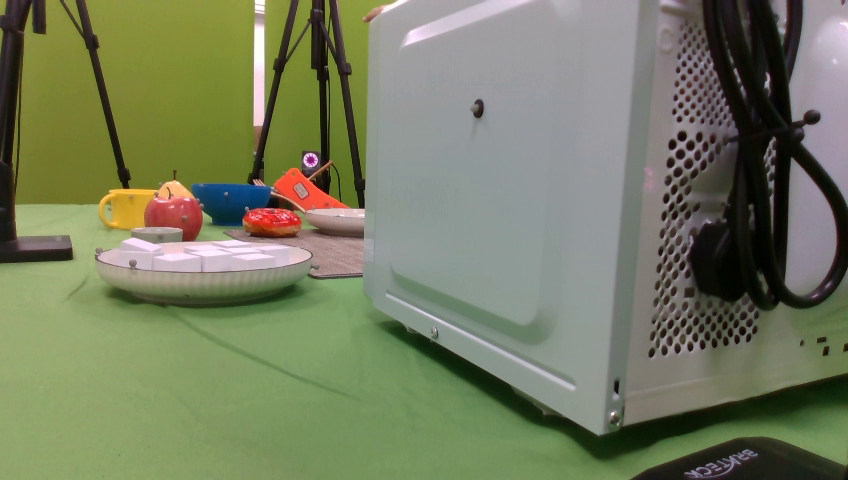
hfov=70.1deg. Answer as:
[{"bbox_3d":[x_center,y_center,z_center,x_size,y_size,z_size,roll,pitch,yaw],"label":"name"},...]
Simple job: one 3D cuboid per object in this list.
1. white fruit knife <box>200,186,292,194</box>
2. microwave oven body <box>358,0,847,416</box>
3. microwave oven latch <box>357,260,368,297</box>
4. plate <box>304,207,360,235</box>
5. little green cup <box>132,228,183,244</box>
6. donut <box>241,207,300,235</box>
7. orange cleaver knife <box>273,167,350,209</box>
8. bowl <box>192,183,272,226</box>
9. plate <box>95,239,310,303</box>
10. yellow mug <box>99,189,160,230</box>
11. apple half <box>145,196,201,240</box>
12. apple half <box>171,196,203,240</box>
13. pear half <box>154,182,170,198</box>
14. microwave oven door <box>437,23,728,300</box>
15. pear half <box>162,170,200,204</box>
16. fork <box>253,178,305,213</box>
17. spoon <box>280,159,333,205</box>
[{"bbox_3d":[-0.399,-0.111,1.368,0.208,0.016,0.027,-4,-19,-29],"label":"white fruit knife"},{"bbox_3d":[0.211,-0.047,0.475,0.444,0.260,0.324,-1,8,-28],"label":"microwave oven body"},{"bbox_3d":[-0.019,0.033,0.531,0.079,0.029,0.030,-1,7,-27],"label":"microwave oven latch"},{"bbox_3d":[-0.123,-0.037,1.149,0.209,0.038,0.209,2,7,0],"label":"plate"},{"bbox_3d":[-0.342,0.006,0.779,0.061,0.038,0.061,2,8,0],"label":"little green cup"},{"bbox_3d":[-0.263,-0.032,1.039,0.099,0.048,0.099,4,9,0],"label":"donut"},{"bbox_3d":[-0.236,-0.087,1.358,0.211,0.077,0.012,31,5,-3],"label":"orange cleaver knife"},{"bbox_3d":[-0.381,-0.070,1.202,0.151,0.077,0.151,3,7,0],"label":"bowl"},{"bbox_3d":[-0.224,0.031,0.629,0.208,0.039,0.207,2,8,0],"label":"plate"},{"bbox_3d":[-0.518,-0.055,1.080,0.099,0.064,0.131,7,9,26],"label":"yellow mug"},{"bbox_3d":[-0.377,-0.027,0.892,0.080,0.074,0.053,8,12,18],"label":"apple half"},{"bbox_3d":[-0.365,-0.033,0.928,0.081,0.081,0.033,5,12,18],"label":"apple half"},{"bbox_3d":[-0.435,-0.053,1.006,0.031,0.088,0.070,3,12,0],"label":"pear half"},{"bbox_3d":[0.180,-0.072,0.621,0.358,0.243,0.039,-2,8,-29],"label":"microwave oven door"},{"bbox_3d":[-0.399,-0.061,1.002,0.056,0.110,0.076,2,12,1],"label":"pear half"},{"bbox_3d":[-0.295,-0.084,1.293,0.206,0.018,0.028,29,11,26],"label":"fork"},{"bbox_3d":[-0.316,-0.159,1.639,0.194,0.022,0.041,-49,31,-20],"label":"spoon"}]
